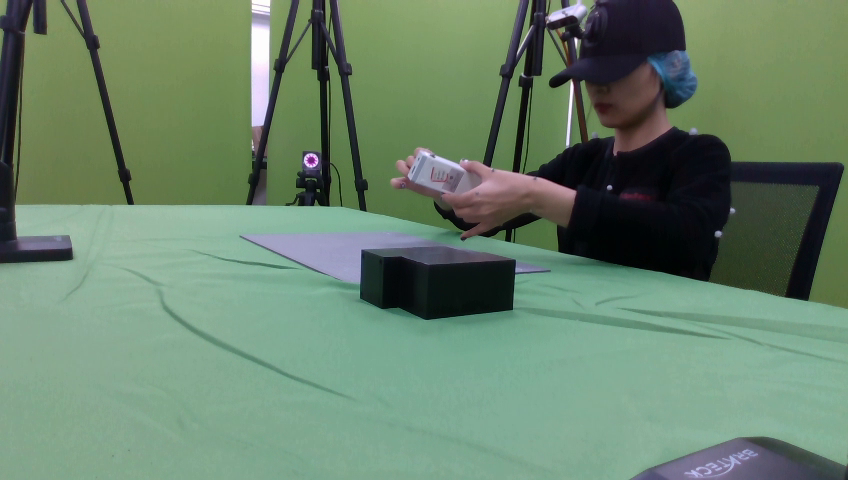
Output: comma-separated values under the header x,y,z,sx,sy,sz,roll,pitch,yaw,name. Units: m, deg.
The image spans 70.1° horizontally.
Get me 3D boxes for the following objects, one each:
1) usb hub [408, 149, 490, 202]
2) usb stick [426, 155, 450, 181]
x,y,z,sx,sy,sz,roll,pitch,yaw,name
0.040,-0.103,0.961,0.126,0.049,0.025,16,22,-27,usb hub
0.024,-0.115,0.984,0.021,0.027,0.059,17,24,-28,usb stick
